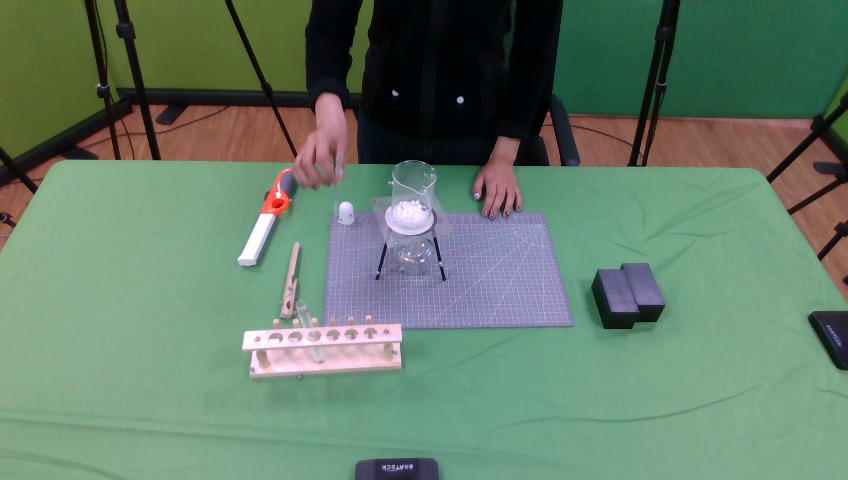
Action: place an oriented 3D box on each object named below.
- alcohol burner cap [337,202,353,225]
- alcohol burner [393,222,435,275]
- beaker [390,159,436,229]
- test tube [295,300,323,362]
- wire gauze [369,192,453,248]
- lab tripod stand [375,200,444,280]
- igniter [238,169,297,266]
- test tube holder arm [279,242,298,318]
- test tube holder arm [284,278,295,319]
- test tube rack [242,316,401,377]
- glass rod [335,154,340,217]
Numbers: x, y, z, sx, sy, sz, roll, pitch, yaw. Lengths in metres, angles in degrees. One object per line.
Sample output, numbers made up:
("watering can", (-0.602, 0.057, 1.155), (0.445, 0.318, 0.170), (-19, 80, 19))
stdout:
("alcohol burner cap", (-0.161, -0.056, 1.223), (0.034, 0.048, 0.033), (2, 46, -2))
("alcohol burner", (-0.018, 0.009, 1.122), (0.078, 0.119, 0.077), (3, 47, -3))
("beaker", (-0.020, -0.073, 1.029), (0.074, 0.101, 0.083), (-10, 48, -16))
("test tube", (-0.176, 0.143, 0.935), (0.017, 0.151, 0.017), (-2, 46, 2))
("wire gauze", (-0.025, -0.041, 1.065), (0.122, 0.011, 0.124), (-10, 46, -18))
("lab tripod stand", (-0.023, 0.004, 1.113), (0.148, 0.132, 0.147), (4, 45, -3))
("igniter", (-0.313, -0.055, 1.224), (0.057, 0.025, 0.275), (1, 45, 10))
("test tube holder arm", (-0.248, 0.069, 1.114), (0.013, 0.015, 0.177), (25, 38, -27))
("test tube holder arm", (-0.241, 0.103, 1.085), (0.010, 0.015, 0.087), (25, 38, -26))
("test tube rack", (-0.161, 0.166, 0.983), (0.242, 0.085, 0.066), (-2, 46, -6))
("glass rod", (-0.148, -0.088, 1.029), (0.008, 0.200, 0.008), (4, 63, -7))
